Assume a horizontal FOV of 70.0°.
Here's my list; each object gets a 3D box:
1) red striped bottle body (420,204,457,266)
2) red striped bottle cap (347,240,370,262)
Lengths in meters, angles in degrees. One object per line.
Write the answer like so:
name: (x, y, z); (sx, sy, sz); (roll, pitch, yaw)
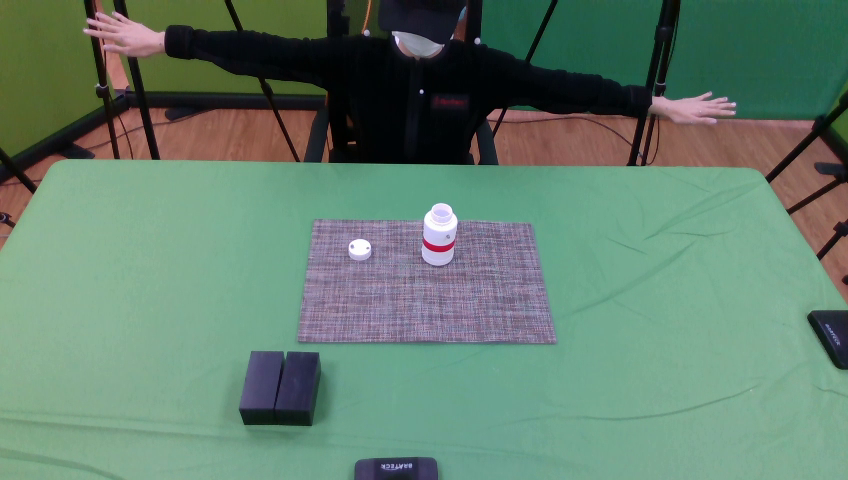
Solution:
red striped bottle body: (0.027, -0.011, 1.138); (0.063, 0.120, 0.062); (3, 45, -3)
red striped bottle cap: (-0.127, 0.020, 1.169); (0.044, 0.018, 0.044); (2, 49, -3)
